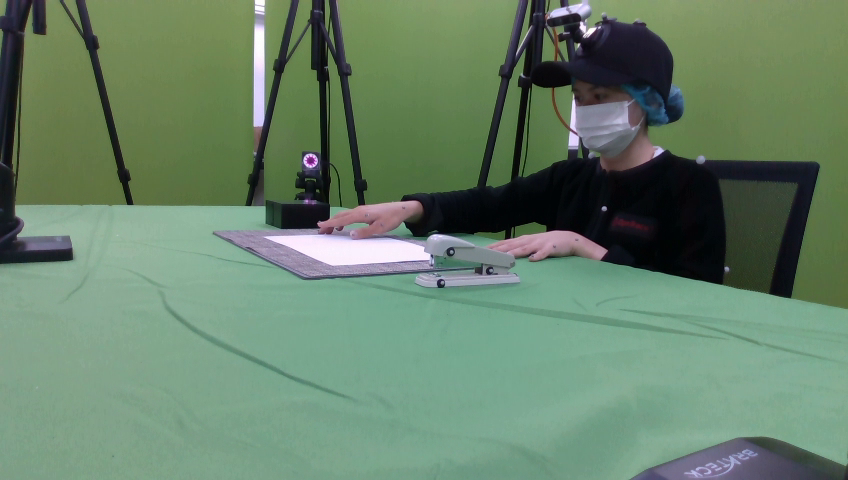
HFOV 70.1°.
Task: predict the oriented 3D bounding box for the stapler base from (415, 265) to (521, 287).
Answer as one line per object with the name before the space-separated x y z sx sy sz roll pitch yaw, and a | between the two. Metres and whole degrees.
stapler base | 0.053 0.040 0.716 0.131 0.024 0.041 1 9 -27

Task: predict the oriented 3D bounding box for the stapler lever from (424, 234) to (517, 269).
stapler lever | 0.056 0.015 0.714 0.119 0.040 0.026 1 9 -27
